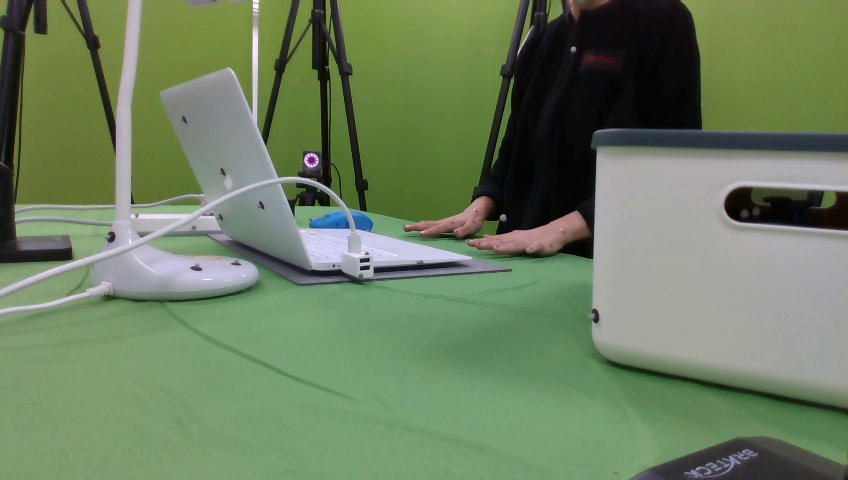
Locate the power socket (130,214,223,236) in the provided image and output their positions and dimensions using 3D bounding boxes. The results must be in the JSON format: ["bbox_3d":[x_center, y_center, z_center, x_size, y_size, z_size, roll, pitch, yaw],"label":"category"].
[{"bbox_3d":[-0.397,-0.028,1.048,0.228,0.032,0.072,-3,8,-35],"label":"power socket"}]

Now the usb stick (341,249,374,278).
[{"bbox_3d":[-0.079,0.026,0.687,0.021,0.027,0.059,-8,9,-30],"label":"usb stick"}]

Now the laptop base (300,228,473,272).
[{"bbox_3d":[-0.124,0.011,0.889,0.237,0.023,0.352,2,6,-35],"label":"laptop base"}]

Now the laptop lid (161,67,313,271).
[{"bbox_3d":[-0.255,-0.090,0.782,0.013,0.242,0.355,-29,24,-28],"label":"laptop lid"}]

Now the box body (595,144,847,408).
[{"bbox_3d":[0.310,0.007,0.508,0.253,0.160,0.366,6,8,30],"label":"box body"}]

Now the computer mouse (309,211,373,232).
[{"bbox_3d":[-0.157,-0.033,1.139,0.118,0.041,0.062,-5,11,-28],"label":"computer mouse"}]

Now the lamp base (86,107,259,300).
[{"bbox_3d":[-0.254,-0.039,0.603,0.160,0.180,0.179,5,10,18],"label":"lamp base"}]

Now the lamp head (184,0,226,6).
[{"bbox_3d":[-0.229,-0.320,0.627,0.112,0.112,0.123,6,-36,26],"label":"lamp head"}]

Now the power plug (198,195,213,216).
[{"bbox_3d":[-0.386,-0.055,1.088,0.035,0.052,0.072,-2,6,-24],"label":"power plug"}]

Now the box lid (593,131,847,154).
[{"bbox_3d":[0.311,-0.067,0.498,0.262,0.015,0.373,6,7,30],"label":"box lid"}]
